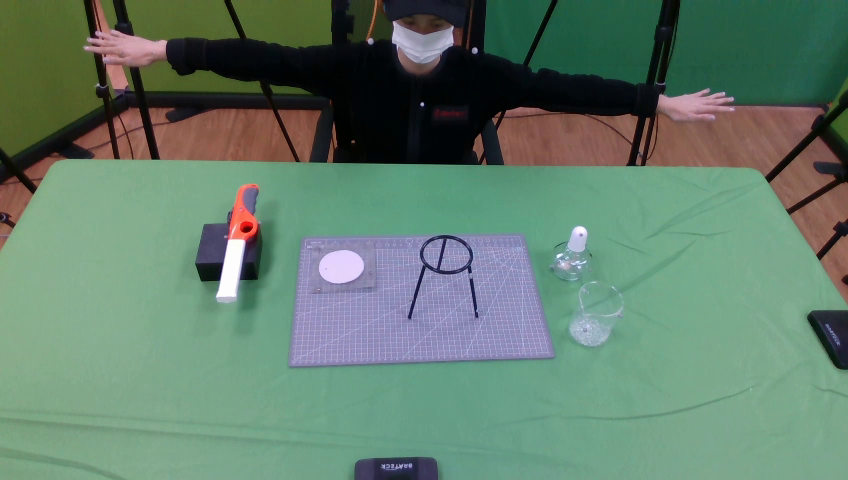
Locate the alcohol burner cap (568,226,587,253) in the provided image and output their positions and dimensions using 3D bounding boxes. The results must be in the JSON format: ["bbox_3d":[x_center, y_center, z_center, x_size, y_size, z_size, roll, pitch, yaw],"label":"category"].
[{"bbox_3d":[0.284,-0.003,1.112,0.034,0.048,0.033,1,42,-1],"label":"alcohol burner cap"}]

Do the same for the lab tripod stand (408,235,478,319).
[{"bbox_3d":[0.032,0.065,1.057,0.148,0.132,0.147,1,45,-1],"label":"lab tripod stand"}]

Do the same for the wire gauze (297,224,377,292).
[{"bbox_3d":[-0.165,0.034,1.137,0.125,0.011,0.120,-21,53,-15],"label":"wire gauze"}]

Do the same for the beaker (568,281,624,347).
[{"bbox_3d":[0.290,0.132,1.041,0.084,0.101,0.073,-34,57,-30],"label":"beaker"}]

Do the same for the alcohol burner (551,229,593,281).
[{"bbox_3d":[0.281,0.021,1.137,0.078,0.120,0.077,1,48,-1],"label":"alcohol burner"}]

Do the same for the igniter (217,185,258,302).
[{"bbox_3d":[-0.339,-0.004,1.106,0.057,0.025,0.274,1,49,-6],"label":"igniter"}]
